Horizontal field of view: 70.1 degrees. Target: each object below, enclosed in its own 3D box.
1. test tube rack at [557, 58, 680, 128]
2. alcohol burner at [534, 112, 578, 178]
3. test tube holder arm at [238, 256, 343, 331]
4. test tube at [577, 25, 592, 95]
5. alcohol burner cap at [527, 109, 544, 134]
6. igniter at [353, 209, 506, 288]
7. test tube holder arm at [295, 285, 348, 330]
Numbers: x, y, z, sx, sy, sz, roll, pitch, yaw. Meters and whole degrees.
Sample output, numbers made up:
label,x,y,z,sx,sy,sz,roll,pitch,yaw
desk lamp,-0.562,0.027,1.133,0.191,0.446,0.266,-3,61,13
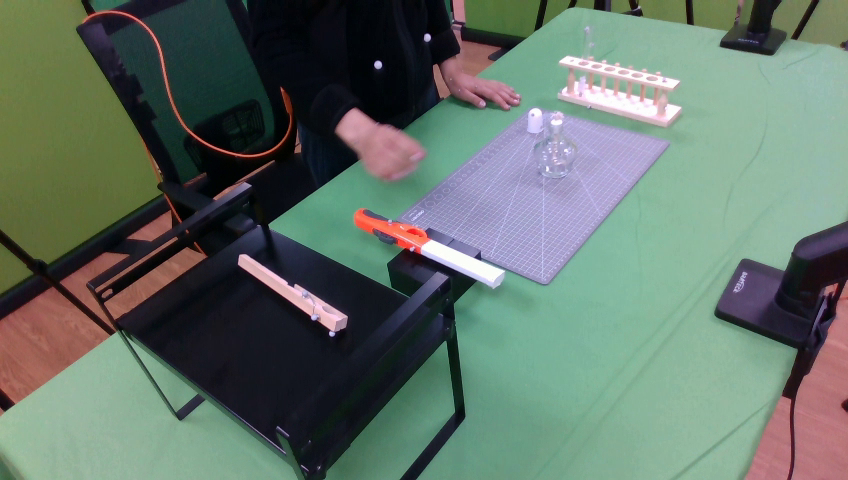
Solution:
label,x,y,z,sx,sy,sz,roll,pitch,yaw
test tube rack,0.395,-0.309,1.230,0.240,0.085,0.067,25,50,33
alcohol burner,0.232,-0.170,1.065,0.078,0.119,0.077,-5,39,5
test tube holder arm,-0.150,0.054,0.657,0.177,0.015,0.013,25,17,35
test tube,0.325,-0.362,1.226,0.017,0.151,0.017,-3,45,4
alcohol burner cap,0.222,-0.238,1.203,0.034,0.048,0.033,-5,40,5
igniter,-0.003,0.006,0.892,0.274,0.025,0.057,24,37,31
test tube holder arm,-0.113,0.070,0.635,0.087,0.015,0.010,25,17,36
